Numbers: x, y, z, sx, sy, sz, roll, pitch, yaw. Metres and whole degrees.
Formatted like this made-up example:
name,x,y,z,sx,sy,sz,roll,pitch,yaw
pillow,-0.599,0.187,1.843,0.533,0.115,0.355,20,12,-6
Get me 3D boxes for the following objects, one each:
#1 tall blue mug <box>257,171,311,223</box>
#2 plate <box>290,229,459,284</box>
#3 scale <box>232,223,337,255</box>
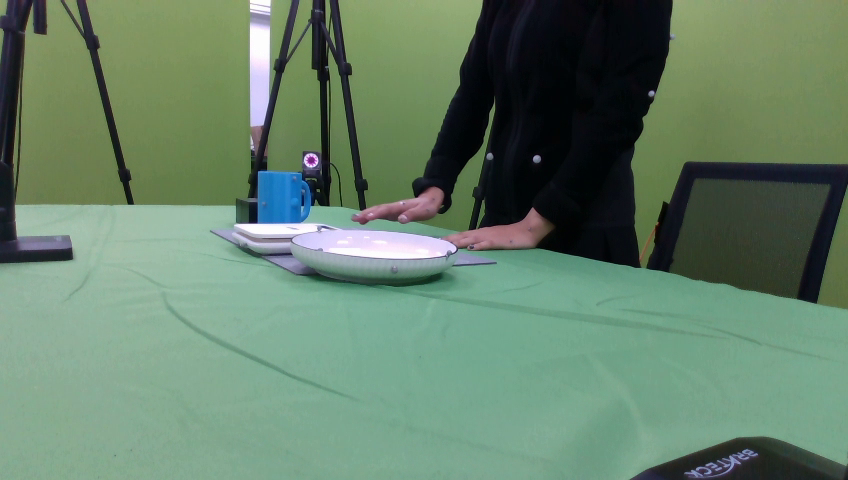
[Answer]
name,x,y,z,sx,sy,sz,roll,pitch,yaw
tall blue mug,-0.258,-0.070,1.107,0.078,0.108,0.107,2,7,5
plate,-0.062,0.020,0.753,0.209,0.038,0.209,3,9,0
scale,-0.178,-0.004,0.920,0.202,0.031,0.148,-1,9,-30
